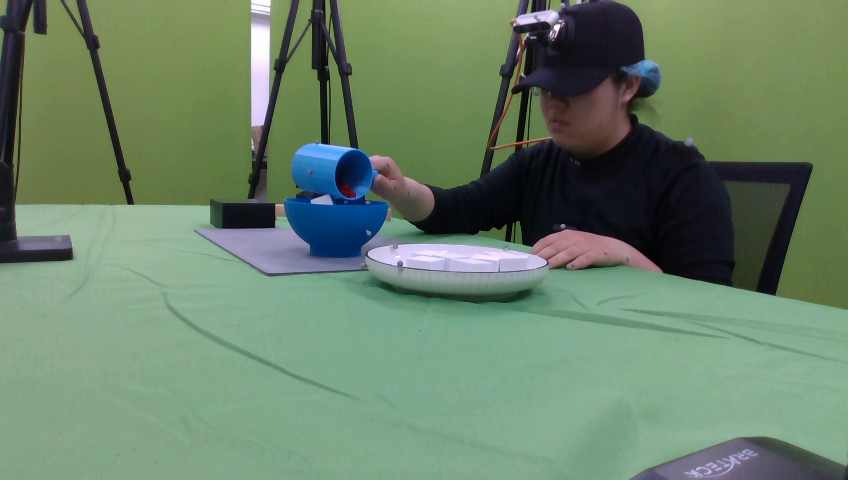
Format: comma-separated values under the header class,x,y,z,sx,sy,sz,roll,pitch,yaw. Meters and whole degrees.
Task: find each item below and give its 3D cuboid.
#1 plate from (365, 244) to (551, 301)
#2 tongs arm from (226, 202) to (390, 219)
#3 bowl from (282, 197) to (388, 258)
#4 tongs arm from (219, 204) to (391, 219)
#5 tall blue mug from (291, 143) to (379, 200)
class,x,y,z,sx,sy,sz,roll,pitch,yaw
plate,0.038,0.036,0.685,0.209,0.038,0.209,2,7,0
tongs arm,-0.275,-0.071,1.446,0.388,0.027,0.028,2,-1,-4
bowl,-0.127,-0.018,0.868,0.151,0.077,0.151,3,7,0
tongs arm,-0.258,-0.064,1.367,0.386,0.026,0.050,1,3,-17
tall blue mug,-0.130,-0.112,0.928,0.107,0.078,0.107,14,40,42
